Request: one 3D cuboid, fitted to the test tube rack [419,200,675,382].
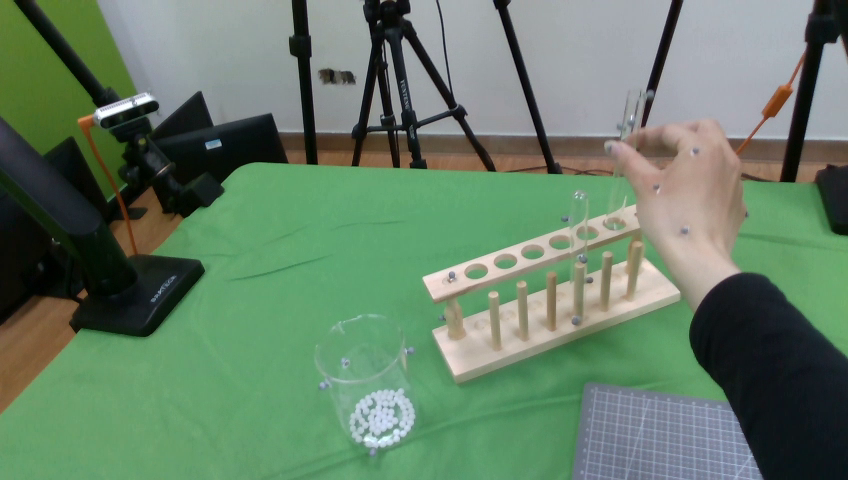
[{"bbox_3d":[0.124,0.047,0.590,0.243,0.086,0.066,-18,39,-10],"label":"test tube rack"}]

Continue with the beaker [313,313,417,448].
[{"bbox_3d":[-0.048,0.122,0.522,0.074,0.101,0.083,-27,40,-21],"label":"beaker"}]

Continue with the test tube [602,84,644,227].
[{"bbox_3d":[0.175,-0.069,0.538,0.017,0.151,0.017,-3,44,3],"label":"test tube"}]

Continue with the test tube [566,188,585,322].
[{"bbox_3d":[0.138,0.017,0.551,0.017,0.152,0.017,-7,37,5],"label":"test tube"}]
